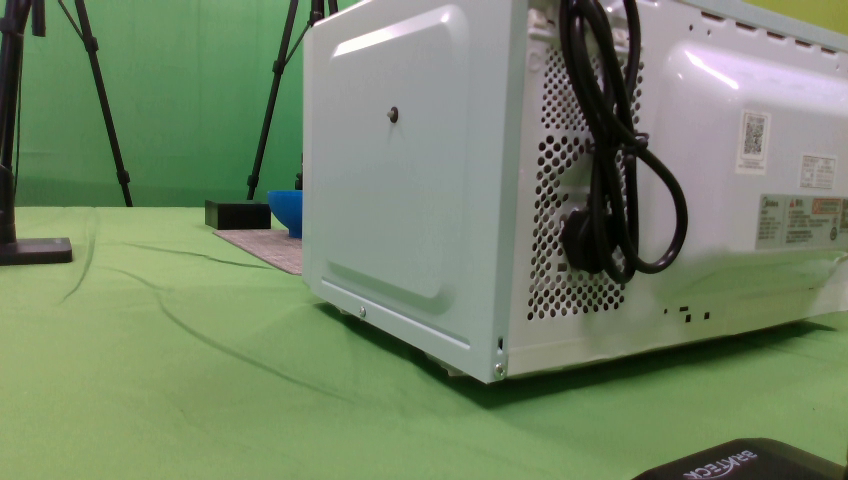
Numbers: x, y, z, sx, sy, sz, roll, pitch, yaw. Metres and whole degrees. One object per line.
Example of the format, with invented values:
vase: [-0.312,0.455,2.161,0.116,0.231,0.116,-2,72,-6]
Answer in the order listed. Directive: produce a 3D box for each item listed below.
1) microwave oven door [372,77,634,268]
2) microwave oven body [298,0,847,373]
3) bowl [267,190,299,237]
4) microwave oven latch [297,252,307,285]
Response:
microwave oven door: [0.096,-0.099,0.837,0.355,0.243,0.039,5,8,20]
microwave oven body: [0.151,-0.055,0.543,0.444,0.260,0.324,-1,8,-33]
bowl: [-0.202,-0.046,1.069,0.151,0.077,0.151,3,7,0]
microwave oven latch: [-0.082,0.027,0.583,0.079,0.029,0.030,-1,7,-32]
